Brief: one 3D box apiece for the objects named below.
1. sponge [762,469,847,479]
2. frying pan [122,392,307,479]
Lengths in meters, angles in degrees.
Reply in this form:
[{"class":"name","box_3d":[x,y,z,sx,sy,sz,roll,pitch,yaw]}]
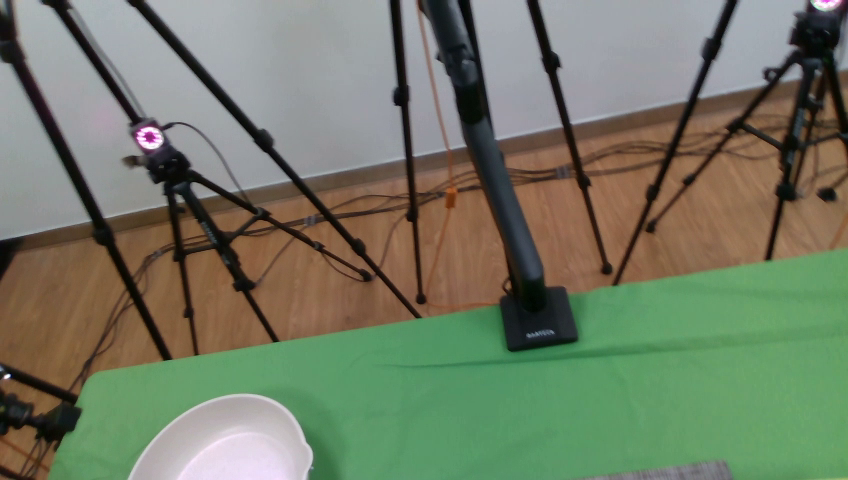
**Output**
[{"class":"sponge","box_3d":[0.459,0.359,0.651,0.118,0.061,0.205,-8,47,9]},{"class":"frying pan","box_3d":[-0.298,0.435,0.832,0.307,0.104,0.482,-16,38,2]}]
